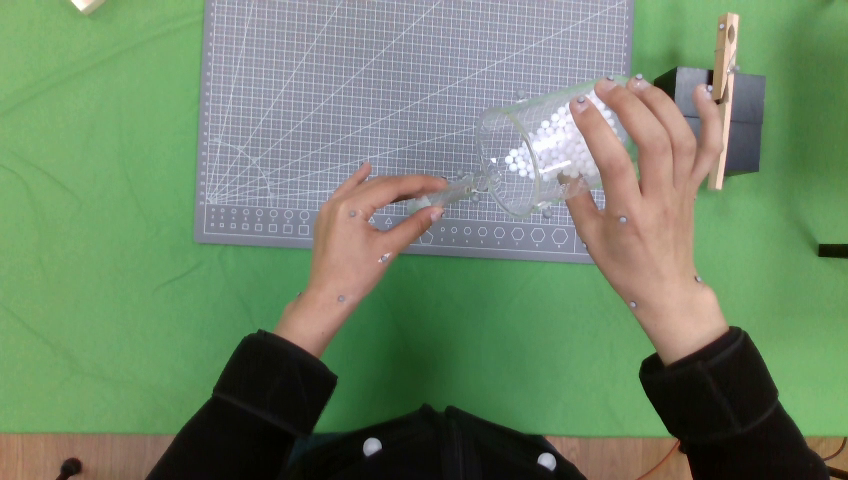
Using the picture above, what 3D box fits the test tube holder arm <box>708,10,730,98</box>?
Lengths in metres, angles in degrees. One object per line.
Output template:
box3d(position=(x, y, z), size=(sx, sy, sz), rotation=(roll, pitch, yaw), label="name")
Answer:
box3d(position=(0.302, -0.190, 0.620), size=(0.010, 0.015, 0.088), rotation=(2, 92, -14), label="test tube holder arm")

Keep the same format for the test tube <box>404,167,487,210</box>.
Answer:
box3d(position=(0.013, -0.040, 0.498), size=(0.017, 0.149, 0.017), rotation=(1, 86, -21), label="test tube")

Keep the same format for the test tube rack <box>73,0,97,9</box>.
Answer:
box3d(position=(-0.264, -0.332, 0.563), size=(0.242, 0.085, 0.067), rotation=(-42, 95, -4), label="test tube rack")

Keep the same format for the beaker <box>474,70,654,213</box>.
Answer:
box3d(position=(0.093, -0.068, 0.406), size=(0.100, 0.084, 0.074), rotation=(-20, 89, -19), label="beaker")

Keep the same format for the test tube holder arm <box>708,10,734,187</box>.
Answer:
box3d(position=(0.305, -0.144, 0.623), size=(0.013, 0.015, 0.178), rotation=(1, 92, -14), label="test tube holder arm")
